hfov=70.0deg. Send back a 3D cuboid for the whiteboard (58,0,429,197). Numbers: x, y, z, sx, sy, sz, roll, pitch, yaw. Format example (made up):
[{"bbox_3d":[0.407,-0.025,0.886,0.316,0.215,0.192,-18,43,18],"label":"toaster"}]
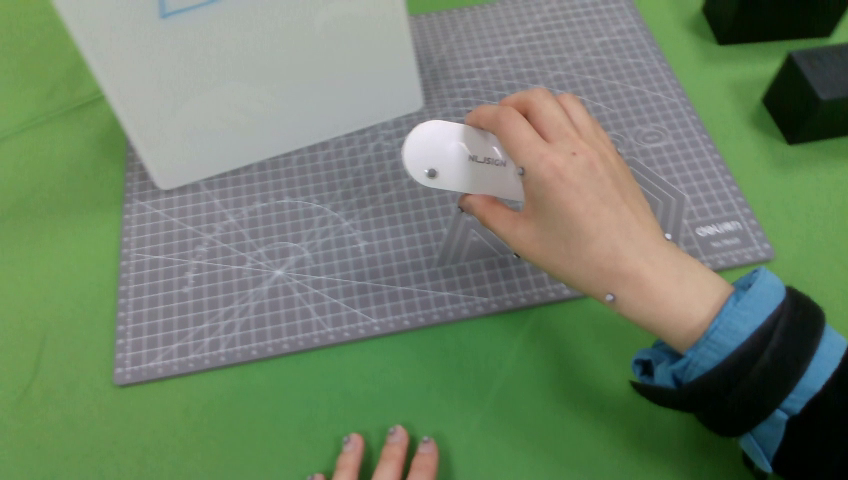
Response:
[{"bbox_3d":[-0.140,-0.222,0.424,0.217,0.308,0.142,-19,41,-9],"label":"whiteboard"}]

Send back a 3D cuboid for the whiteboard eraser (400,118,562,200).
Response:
[{"bbox_3d":[0.036,-0.049,0.375,0.101,0.018,0.041,7,95,-11],"label":"whiteboard eraser"}]
